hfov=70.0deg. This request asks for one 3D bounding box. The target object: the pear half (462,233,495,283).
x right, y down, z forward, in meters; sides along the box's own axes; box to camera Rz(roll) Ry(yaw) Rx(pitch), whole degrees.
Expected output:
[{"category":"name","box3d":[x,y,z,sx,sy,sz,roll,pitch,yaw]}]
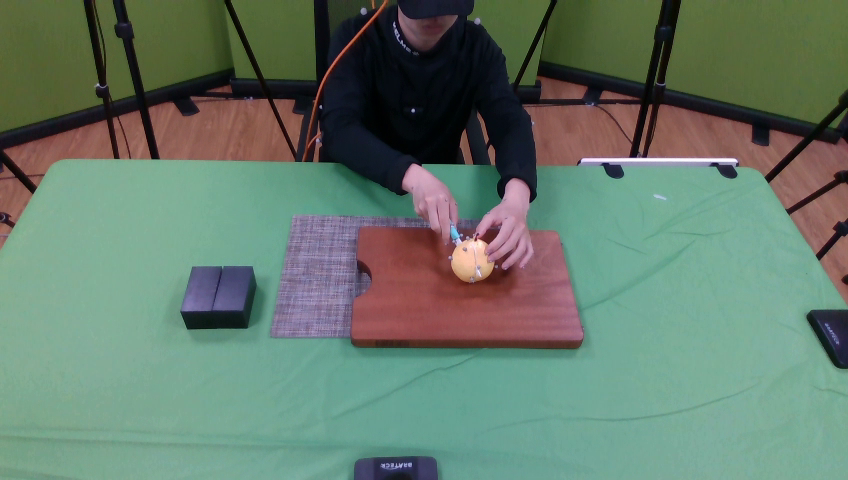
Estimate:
[{"category":"pear half","box3d":[0.099,0.024,1.086,0.056,0.110,0.076,-20,54,-22]}]

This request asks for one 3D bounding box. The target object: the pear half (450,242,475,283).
[{"category":"pear half","box3d":[0.065,0.041,1.081,0.031,0.088,0.070,-21,55,-21]}]

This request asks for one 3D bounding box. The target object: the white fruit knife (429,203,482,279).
[{"category":"white fruit knife","box3d":[0.058,-0.002,1.110,0.016,0.027,0.206,-15,49,-20]}]
